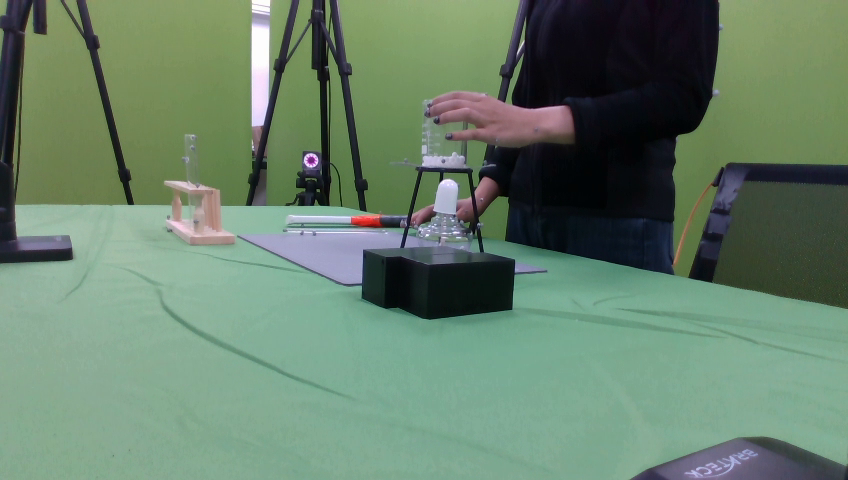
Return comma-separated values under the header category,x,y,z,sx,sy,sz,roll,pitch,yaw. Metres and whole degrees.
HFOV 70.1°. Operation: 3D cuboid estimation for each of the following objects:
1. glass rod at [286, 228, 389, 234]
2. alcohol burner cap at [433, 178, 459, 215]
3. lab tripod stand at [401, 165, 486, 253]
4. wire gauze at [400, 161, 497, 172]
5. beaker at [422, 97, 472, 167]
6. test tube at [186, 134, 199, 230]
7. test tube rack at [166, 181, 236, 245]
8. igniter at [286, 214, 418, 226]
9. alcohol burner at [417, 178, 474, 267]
category,x,y,z,sx,sy,sz,roll,pitch,yaw
glass rod,-0.153,-0.016,1.101,0.201,0.008,0.008,1,6,-31
alcohol burner cap,0.031,-0.059,0.806,0.034,0.048,0.034,9,9,-1
lab tripod stand,0.028,-0.049,0.930,0.148,0.131,0.148,2,9,0
wire gauze,0.027,-0.114,0.920,0.122,0.011,0.124,-5,12,-34
beaker,0.030,-0.162,0.919,0.074,0.100,0.083,-4,9,-36
test tube,-0.360,-0.089,0.946,0.017,0.150,0.017,0,10,0
test tube rack,-0.383,-0.051,1.024,0.067,0.085,0.241,-2,9,-31
igniter,-0.146,-0.043,1.263,0.278,0.025,0.057,-1,-2,-24
alcohol burner,0.029,-0.024,0.810,0.078,0.119,0.078,1,8,0
